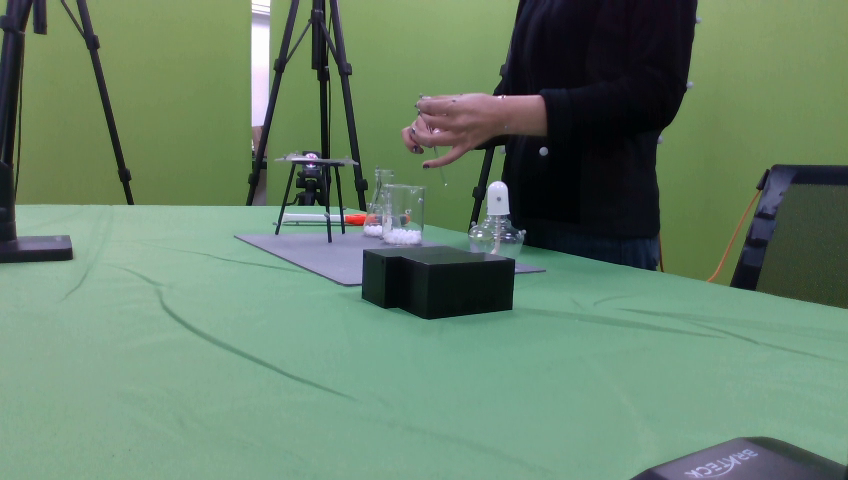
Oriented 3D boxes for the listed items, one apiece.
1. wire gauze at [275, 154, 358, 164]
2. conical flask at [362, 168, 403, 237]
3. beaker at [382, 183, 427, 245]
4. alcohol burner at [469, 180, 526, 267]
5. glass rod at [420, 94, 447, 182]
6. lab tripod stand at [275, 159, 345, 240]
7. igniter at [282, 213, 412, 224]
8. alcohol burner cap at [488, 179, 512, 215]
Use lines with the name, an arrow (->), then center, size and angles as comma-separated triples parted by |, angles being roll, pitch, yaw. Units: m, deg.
wire gauze -> -0.179, -0.137, 1.028 | 0.121, 0.011, 0.125 | 4, 8, 0
conical flask -> -0.073, -0.069, 1.096 | 0.075, 0.122, 0.075 | 2, 7, 0
beaker -> -0.032, -0.044, 1.007 | 0.074, 0.100, 0.084 | 6, 7, 22
alcohol burner -> 0.101, -0.022, 0.821 | 0.078, 0.119, 0.078 | 4, 8, 0
glass rod -> 0.018, -0.163, 1.001 | 0.008, 0.008, 0.200 | 4, -35, 18
lab tripod stand -> -0.181, -0.072, 1.039 | 0.148, 0.131, 0.148 | 4, 8, 0
igniter -> -0.159, -0.046, 1.287 | 0.278, 0.025, 0.057 | -1, -3, -21
alcohol burner cap -> 0.101, -0.058, 0.816 | 0.034, 0.048, 0.034 | -5, 9, 1
